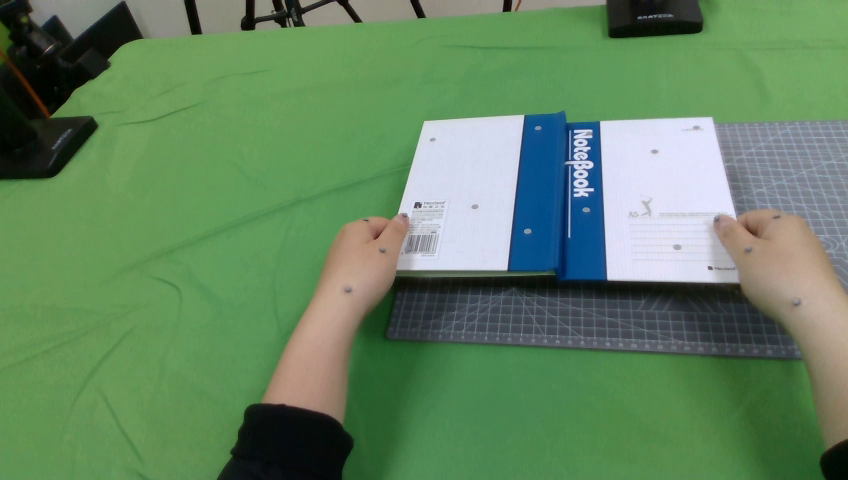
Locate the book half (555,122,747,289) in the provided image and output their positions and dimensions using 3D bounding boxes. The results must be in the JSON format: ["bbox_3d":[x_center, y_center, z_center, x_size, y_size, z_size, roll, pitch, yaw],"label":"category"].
[{"bbox_3d":[0.191,-0.039,0.539,0.143,0.007,0.208,1,46,13],"label":"book half"}]

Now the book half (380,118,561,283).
[{"bbox_3d":[0.051,-0.044,0.565,0.148,0.016,0.208,0,47,14],"label":"book half"}]
